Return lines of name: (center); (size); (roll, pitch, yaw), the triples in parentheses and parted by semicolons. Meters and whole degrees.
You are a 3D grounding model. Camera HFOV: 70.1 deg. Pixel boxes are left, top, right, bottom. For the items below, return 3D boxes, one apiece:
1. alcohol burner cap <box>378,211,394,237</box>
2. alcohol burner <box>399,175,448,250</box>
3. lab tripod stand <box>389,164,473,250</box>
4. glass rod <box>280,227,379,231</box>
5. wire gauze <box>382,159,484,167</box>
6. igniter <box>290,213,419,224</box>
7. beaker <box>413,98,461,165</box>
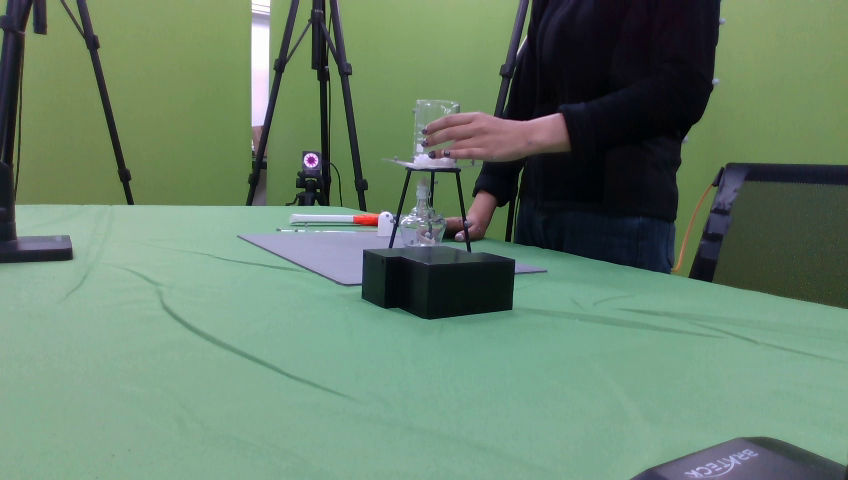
alcohol burner cap: (-0.069, -0.030, 1.113); (0.034, 0.048, 0.034); (0, 10, 0)
alcohol burner: (-0.001, -0.044, 0.962); (0.078, 0.119, 0.078); (0, 8, 0)
lab tripod stand: (0.011, -0.054, 0.961); (0.148, 0.131, 0.148); (2, 9, 0)
glass rod: (-0.175, -0.021, 1.161); (0.200, 0.008, 0.008); (0, 7, -15)
wire gauze: (0.011, -0.120, 0.951); (0.122, 0.011, 0.124); (-3, 10, -32)
igniter: (-0.143, -0.046, 1.288); (0.278, 0.025, 0.057); (-1, -3, -24)
beaker: (0.021, -0.169, 0.952); (0.073, 0.100, 0.084); (7, 10, 26)
